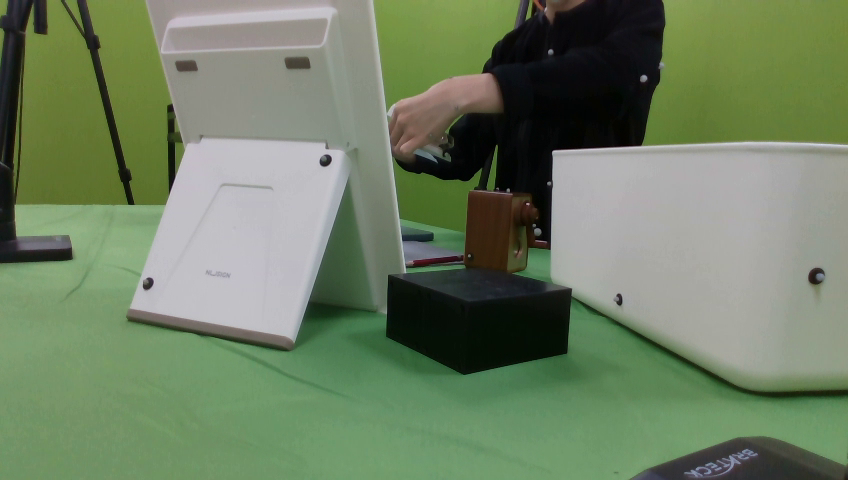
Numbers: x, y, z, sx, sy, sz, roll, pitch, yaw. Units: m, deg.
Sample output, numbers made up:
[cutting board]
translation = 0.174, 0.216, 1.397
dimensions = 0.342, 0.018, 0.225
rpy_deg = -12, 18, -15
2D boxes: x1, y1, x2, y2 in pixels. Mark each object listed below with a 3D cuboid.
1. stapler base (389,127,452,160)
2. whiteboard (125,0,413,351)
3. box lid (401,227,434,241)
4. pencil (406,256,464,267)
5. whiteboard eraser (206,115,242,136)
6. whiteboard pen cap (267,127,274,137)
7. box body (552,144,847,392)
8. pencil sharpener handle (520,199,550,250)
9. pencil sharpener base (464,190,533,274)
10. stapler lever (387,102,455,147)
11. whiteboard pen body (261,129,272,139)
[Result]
[stapler base]
translation = -0.015, -0.152, 0.891
dimensions = 0.130, 0.024, 0.041
rpy_deg = 26, 4, 29
[whiteboard]
translation = -0.151, -0.050, 0.471
dimensions = 0.216, 0.305, 0.144
rpy_deg = 6, 27, 24
[box lid]
translation = -0.196, -0.015, 1.105
dimensions = 0.373, 0.015, 0.262
rpy_deg = -1, 7, -32
[pencil]
translation = 0.041, 0.028, 0.851
dimensions = 0.195, 0.012, 0.012
rpy_deg = -5, 10, -44
[whiteboard eraser]
translation = -0.438, -0.249, 1.320
dimensions = 0.056, 0.042, 0.112
rpy_deg = -3, 9, -30
[whiteboard pen cap]
translation = -0.340, -0.239, 1.337
dimensions = 0.018, 0.018, 0.033
rpy_deg = 1, -1, -14
[box body]
translation = 0.290, 0.002, 0.549
dimensions = 0.255, 0.160, 0.363
rpy_deg = 2, 7, -10
[pencil sharpener handle]
translation = 0.147, -0.019, 0.785
dimensions = 0.030, 0.068, 0.036
rpy_deg = 8, 26, 36
[pencil sharpener base]
translation = 0.103, -0.012, 0.813
dimensions = 0.076, 0.107, 0.061
rpy_deg = 8, 9, 36
[stapler lever]
translation = -0.005, -0.171, 0.890
dimensions = 0.117, 0.040, 0.027
rpy_deg = 23, 2, 29
[whiteboard pen body]
translation = -0.361, -0.245, 1.393
dimensions = 0.017, 0.017, 0.140
rpy_deg = 0, 5, -20
